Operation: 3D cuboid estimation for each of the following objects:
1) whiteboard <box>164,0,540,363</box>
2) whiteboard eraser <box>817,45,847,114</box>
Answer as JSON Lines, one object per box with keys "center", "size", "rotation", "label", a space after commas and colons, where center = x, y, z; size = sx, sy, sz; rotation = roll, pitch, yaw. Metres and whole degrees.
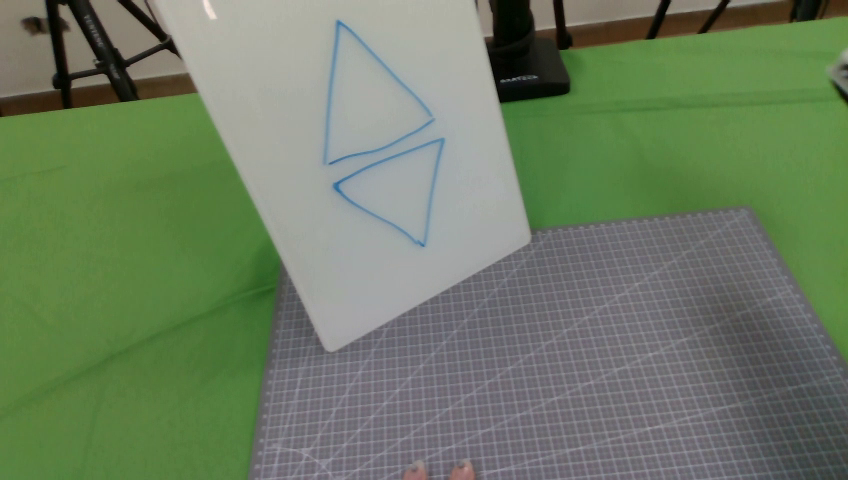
{"center": [-0.055, -0.095, 0.520], "size": [0.217, 0.308, 0.142], "rotation": [-27, 28, -16], "label": "whiteboard"}
{"center": [0.321, -0.088, 0.397], "size": [0.055, 0.042, 0.112], "rotation": [-32, 69, -2], "label": "whiteboard eraser"}
